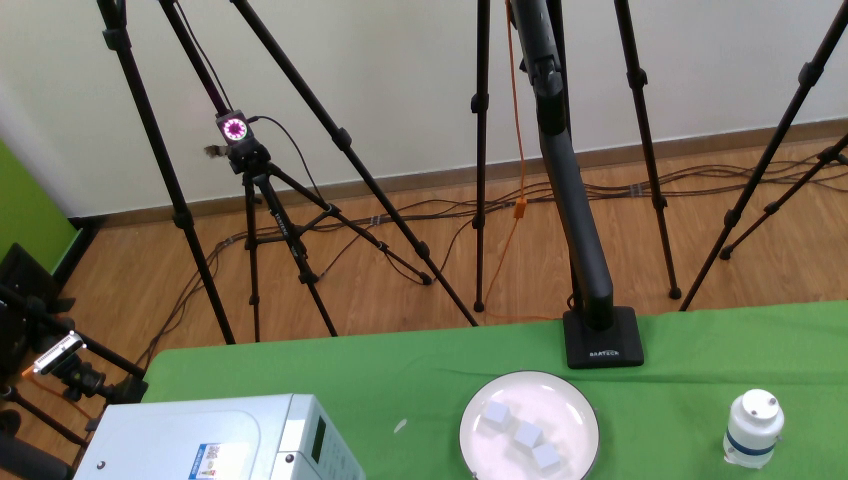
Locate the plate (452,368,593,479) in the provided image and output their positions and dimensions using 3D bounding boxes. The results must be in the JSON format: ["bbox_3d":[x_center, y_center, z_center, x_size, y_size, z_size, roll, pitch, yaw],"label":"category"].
[{"bbox_3d":[0.147,0.291,0.913,0.207,0.039,0.205,-9,44,9],"label":"plate"}]

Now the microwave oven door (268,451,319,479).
[{"bbox_3d":[-0.149,0.453,0.668,0.039,0.246,0.352,-7,45,11],"label":"microwave oven door"}]

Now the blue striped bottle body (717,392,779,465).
[{"bbox_3d":[0.431,0.245,0.807,0.063,0.122,0.062,-9,44,9],"label":"blue striped bottle body"}]

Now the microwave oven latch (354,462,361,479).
[{"bbox_3d":[-0.111,0.368,0.889,0.030,0.030,0.078,-6,45,11],"label":"microwave oven latch"}]

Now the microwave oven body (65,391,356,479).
[{"bbox_3d":[-0.288,0.443,0.729,0.325,0.263,0.437,-6,45,11],"label":"microwave oven body"}]

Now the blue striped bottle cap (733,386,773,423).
[{"bbox_3d":[0.419,0.209,0.772,0.044,0.021,0.044,-8,44,8],"label":"blue striped bottle cap"}]
